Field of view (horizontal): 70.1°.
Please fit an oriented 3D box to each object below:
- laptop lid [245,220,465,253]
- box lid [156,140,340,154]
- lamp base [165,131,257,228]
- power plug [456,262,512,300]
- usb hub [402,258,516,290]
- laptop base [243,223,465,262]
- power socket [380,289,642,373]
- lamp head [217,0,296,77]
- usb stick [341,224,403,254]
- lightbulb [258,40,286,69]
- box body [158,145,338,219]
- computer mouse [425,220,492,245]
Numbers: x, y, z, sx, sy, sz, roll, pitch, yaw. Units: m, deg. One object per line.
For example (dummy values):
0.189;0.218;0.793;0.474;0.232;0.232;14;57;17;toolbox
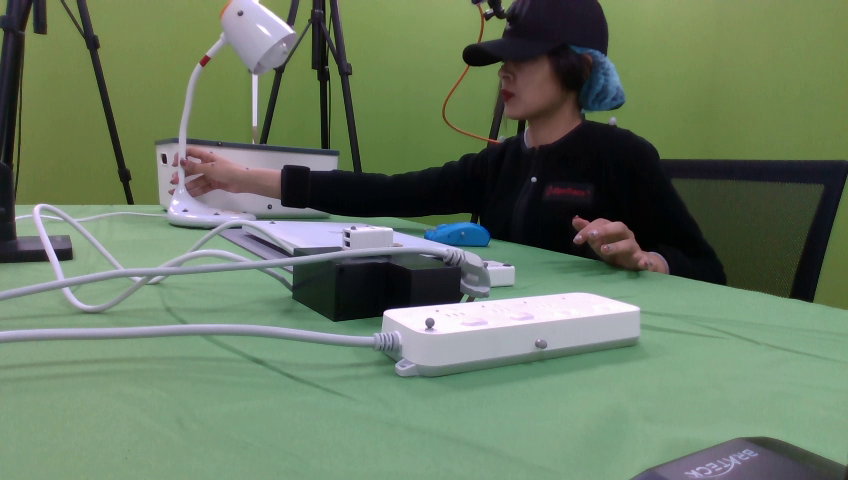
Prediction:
-0.124;-0.009;0.945;0.243;0.013;0.355;1;7;-29;laptop lid
-0.410;-0.213;1.404;0.373;0.015;0.262;-2;8;-32;box lid
-0.415;-0.117;1.158;0.179;0.180;0.160;0;7;1;lamp base
0.052;0.051;0.543;0.035;0.052;0.072;6;37;-19;power plug
0.042;0.038;0.690;0.126;0.025;0.049;-2;9;-30;usb hub
-0.127;0.003;0.945;0.237;0.023;0.352;2;6;-31;laptop base
0.072;0.064;0.461;0.228;0.032;0.072;-2;7;-30;power socket
-0.318;-0.377;1.110;0.123;0.112;0.112;40;4;-6;lamp head
-0.047;-0.001;0.567;0.059;0.027;0.021;0;5;-33;usb stick
-0.298;-0.362;1.106;0.059;0.107;0.059;-40;2;2;lightbulb
-0.410;-0.139;1.414;0.366;0.160;0.253;-3;9;-33;box body
0.060;-0.013;1.060;0.117;0.041;0.062;-3;10;-6;computer mouse
